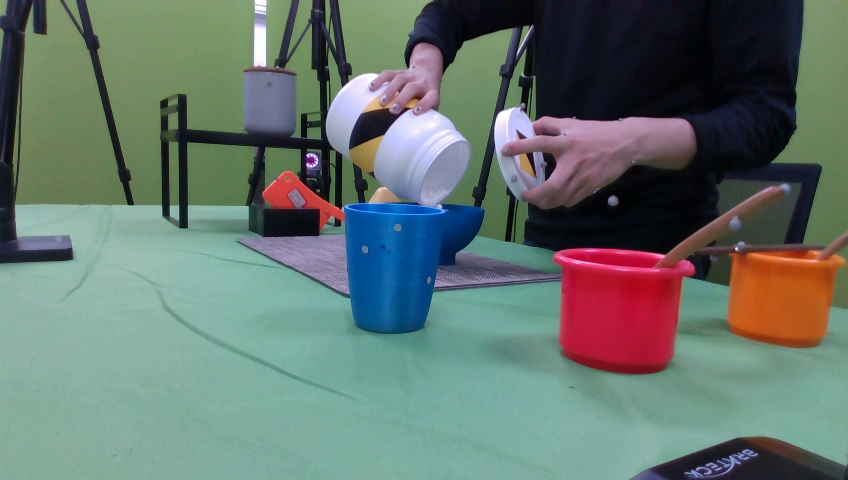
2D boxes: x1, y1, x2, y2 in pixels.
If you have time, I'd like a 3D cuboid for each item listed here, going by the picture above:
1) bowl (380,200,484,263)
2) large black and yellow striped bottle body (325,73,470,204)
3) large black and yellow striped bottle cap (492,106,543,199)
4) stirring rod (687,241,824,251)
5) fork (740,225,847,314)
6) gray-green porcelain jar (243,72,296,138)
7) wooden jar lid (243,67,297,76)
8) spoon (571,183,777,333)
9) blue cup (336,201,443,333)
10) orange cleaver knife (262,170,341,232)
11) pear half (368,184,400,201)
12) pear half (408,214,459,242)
[{"bbox_3d":[0.007,-0.013,0.842,0.151,0.077,0.151,2,7,0],"label":"bowl"},{"bbox_3d":[-0.038,-0.145,0.869,0.183,0.130,0.131,37,24,24],"label":"large black and yellow striped bottle body"},{"bbox_3d":[0.118,-0.108,0.746,0.018,0.115,0.115,-12,-1,32],"label":"large black and yellow striped bottle cap"},{"bbox_3d":[0.289,0.005,0.525,0.177,0.006,0.014,-1,5,-26],"label":"stirring rod"},{"bbox_3d":[0.323,0.013,0.485,0.028,0.018,0.207,8,-38,-5],"label":"fork"},{"bbox_3d":[-0.322,-0.279,1.263,0.106,0.126,0.106,3,8,0],"label":"gray-green porcelain jar"},{"bbox_3d":[-0.319,-0.342,1.254,0.108,0.020,0.108,3,8,0],"label":"wooden jar lid"},{"bbox_3d":[0.161,0.020,0.413,0.042,0.021,0.193,0,-36,-24],"label":"spoon"},{"bbox_3d":[-0.029,0.021,0.508,0.093,0.100,0.092,3,9,0],"label":"blue cup"},{"bbox_3d":[-0.201,-0.056,1.136,0.212,0.077,0.012,31,-4,-31],"label":"orange cleaver knife"},{"bbox_3d":[-0.064,-0.061,1.077,0.055,0.110,0.077,9,14,39],"label":"pear half"},{"bbox_3d":[0.011,-0.020,0.848,0.070,0.031,0.088,5,13,32],"label":"pear half"}]
